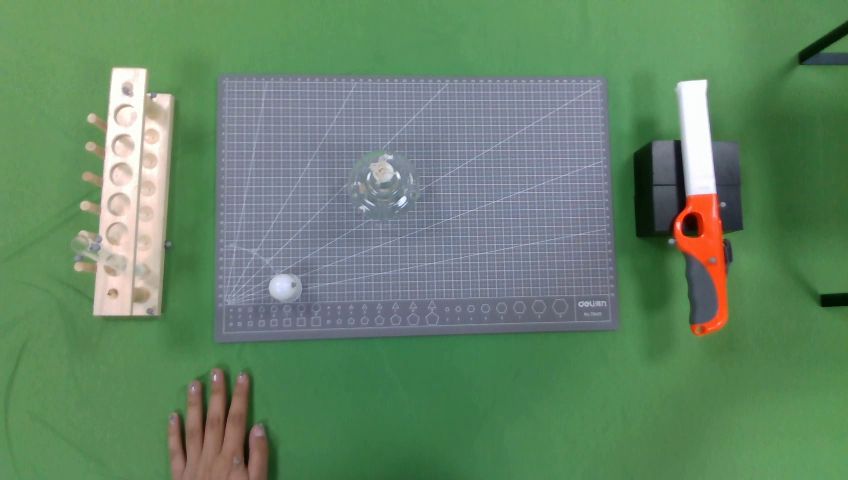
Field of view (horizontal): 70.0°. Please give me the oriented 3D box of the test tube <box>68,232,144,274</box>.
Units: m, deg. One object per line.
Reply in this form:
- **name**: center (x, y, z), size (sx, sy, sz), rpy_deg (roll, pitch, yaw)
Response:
- **test tube**: center (-0.294, 0.015, 0.569), size (0.017, 0.150, 0.017), rpy_deg (1, 78, -7)

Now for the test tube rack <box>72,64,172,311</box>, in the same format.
- **test tube rack**: center (-0.314, -0.048, 0.624), size (0.067, 0.085, 0.241), rpy_deg (1, 84, -4)

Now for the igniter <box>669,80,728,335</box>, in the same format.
- **igniter**: center (0.294, -0.037, 0.655), size (0.057, 0.025, 0.275), rpy_deg (-2, 83, 7)

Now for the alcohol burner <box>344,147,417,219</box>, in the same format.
- **alcohol burner**: center (-0.045, -0.063, 0.631), size (0.078, 0.119, 0.077), rpy_deg (0, 85, -4)

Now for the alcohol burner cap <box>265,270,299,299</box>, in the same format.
- **alcohol burner cap**: center (-0.153, 0.047, 0.646), size (0.034, 0.048, 0.034), rpy_deg (1, 84, -5)
